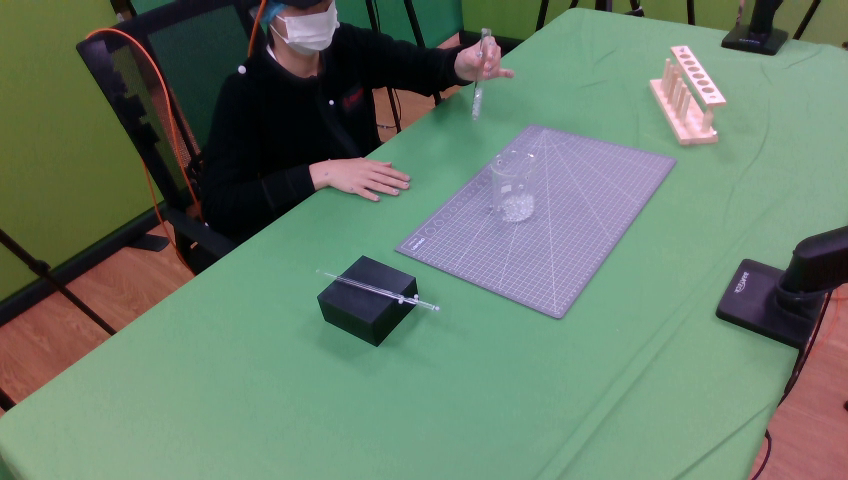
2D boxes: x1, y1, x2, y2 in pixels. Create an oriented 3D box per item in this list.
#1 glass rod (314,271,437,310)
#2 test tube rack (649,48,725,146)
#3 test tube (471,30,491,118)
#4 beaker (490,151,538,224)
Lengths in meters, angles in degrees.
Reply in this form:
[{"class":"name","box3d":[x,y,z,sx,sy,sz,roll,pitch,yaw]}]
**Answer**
[{"class":"glass rod","box3d":[-0.072,0.068,0.837,0.198,0.008,0.008,14,44,24]},{"class":"test tube rack","box3d":[0.508,-0.285,1.186,0.067,0.085,0.241,-4,40,6]},{"class":"test tube","box3d":[0.096,-0.278,1.027,0.017,0.150,0.017,4,34,-3]},{"class":"beaker","box3d":[0.151,-0.084,0.988,0.084,0.101,0.073,-24,43,-20]}]
